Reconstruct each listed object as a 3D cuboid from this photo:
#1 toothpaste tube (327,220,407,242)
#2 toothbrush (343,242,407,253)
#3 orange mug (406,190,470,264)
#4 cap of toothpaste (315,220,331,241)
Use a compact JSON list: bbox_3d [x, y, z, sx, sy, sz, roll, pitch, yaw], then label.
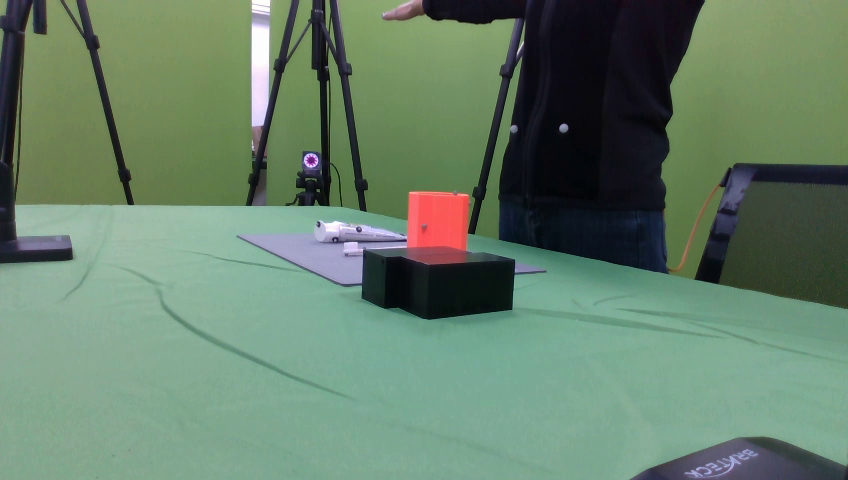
[{"bbox_3d":[-0.095,-0.013,1.026,0.166,0.034,0.055,2,13,-33],"label":"toothpaste tube"},{"bbox_3d":[-0.039,0.010,0.905,0.183,0.016,0.014,-1,-7,-35],"label":"toothbrush"},{"bbox_3d":[0.027,-0.023,0.866,0.083,0.101,0.126,5,12,24],"label":"orange mug"},{"bbox_3d":[-0.164,-0.016,0.982,0.011,0.037,0.037,-8,12,-43],"label":"cap of toothpaste"}]
